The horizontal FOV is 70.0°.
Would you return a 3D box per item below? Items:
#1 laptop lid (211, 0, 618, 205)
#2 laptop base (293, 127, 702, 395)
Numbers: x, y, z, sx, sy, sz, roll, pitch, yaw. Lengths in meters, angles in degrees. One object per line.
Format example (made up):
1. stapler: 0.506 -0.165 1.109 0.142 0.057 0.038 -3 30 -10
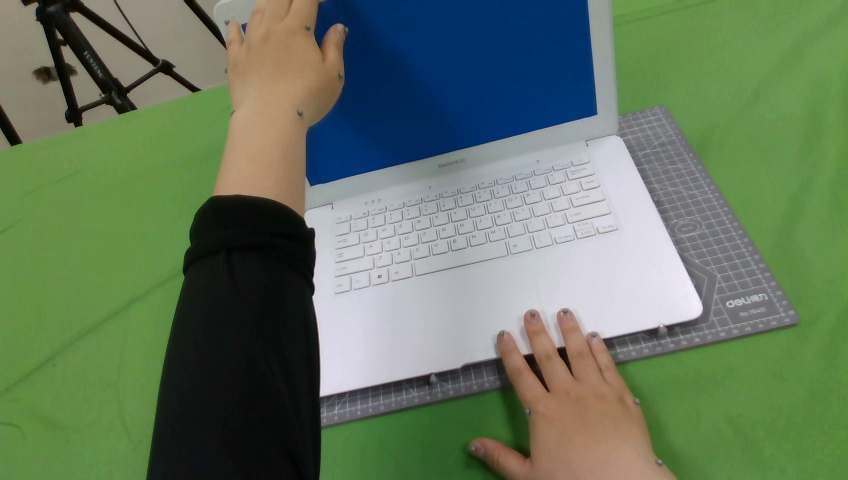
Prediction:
1. laptop lid: 0.005 -0.165 0.589 0.356 0.244 0.013 -15 37 8
2. laptop base: 0.047 0.012 0.582 0.354 0.023 0.233 -13 51 6
